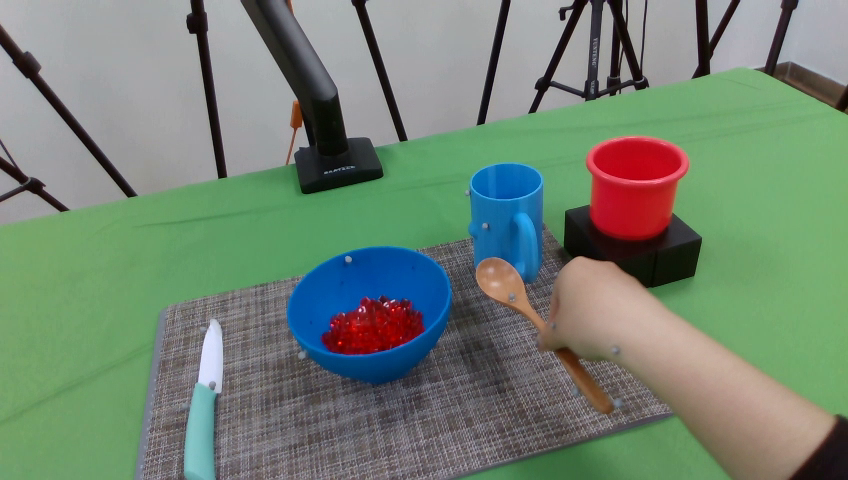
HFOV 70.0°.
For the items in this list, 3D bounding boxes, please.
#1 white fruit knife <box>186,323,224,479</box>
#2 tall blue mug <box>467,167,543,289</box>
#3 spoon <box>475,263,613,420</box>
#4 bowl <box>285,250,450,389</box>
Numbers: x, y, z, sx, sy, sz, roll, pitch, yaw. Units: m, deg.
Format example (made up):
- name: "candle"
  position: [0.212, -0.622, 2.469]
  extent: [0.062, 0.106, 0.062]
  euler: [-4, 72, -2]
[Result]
- name: "white fruit knife"
  position: [-0.203, 0.146, 0.567]
  extent: [0.027, 0.016, 0.205]
  euler: [14, 28, -23]
- name: "tall blue mug"
  position: [0.098, -0.007, 0.644]
  extent: [0.078, 0.109, 0.106]
  euler: [-31, 42, -30]
- name: "spoon"
  position: [0.097, 0.078, 0.512]
  extent: [0.042, 0.022, 0.191]
  euler: [-16, 35, -15]
- name: "bowl"
  position: [-0.047, 0.085, 0.569]
  extent: [0.151, 0.077, 0.150]
  euler: [-5, 36, 4]
